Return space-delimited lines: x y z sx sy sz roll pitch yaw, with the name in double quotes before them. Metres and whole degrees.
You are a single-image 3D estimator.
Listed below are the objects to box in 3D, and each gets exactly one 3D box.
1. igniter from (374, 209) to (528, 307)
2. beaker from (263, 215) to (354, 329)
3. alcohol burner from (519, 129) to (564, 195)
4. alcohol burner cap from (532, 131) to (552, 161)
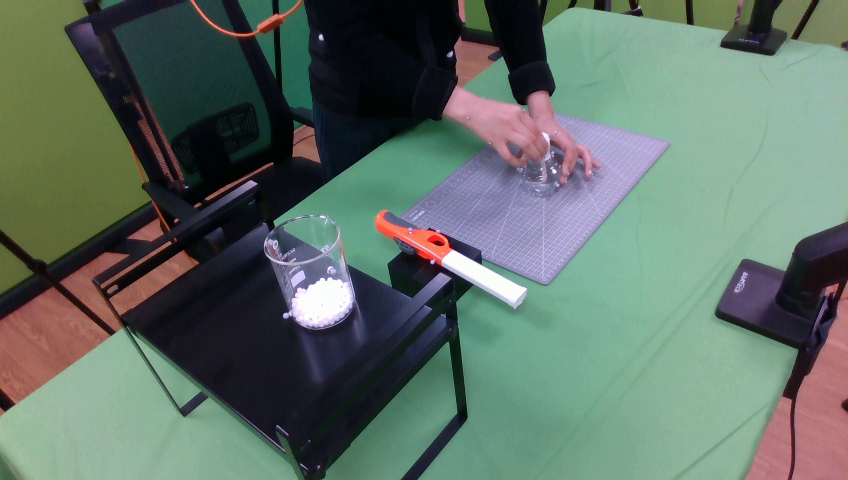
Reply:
"igniter" 0.027 0.019 0.873 0.274 0.025 0.057 29 52 30
"beaker" -0.112 0.034 0.616 0.073 0.101 0.084 13 44 23
"alcohol burner" 0.200 -0.136 1.028 0.078 0.119 0.077 -5 42 5
"alcohol burner cap" 0.197 -0.160 1.010 0.034 0.048 0.033 -6 43 6
